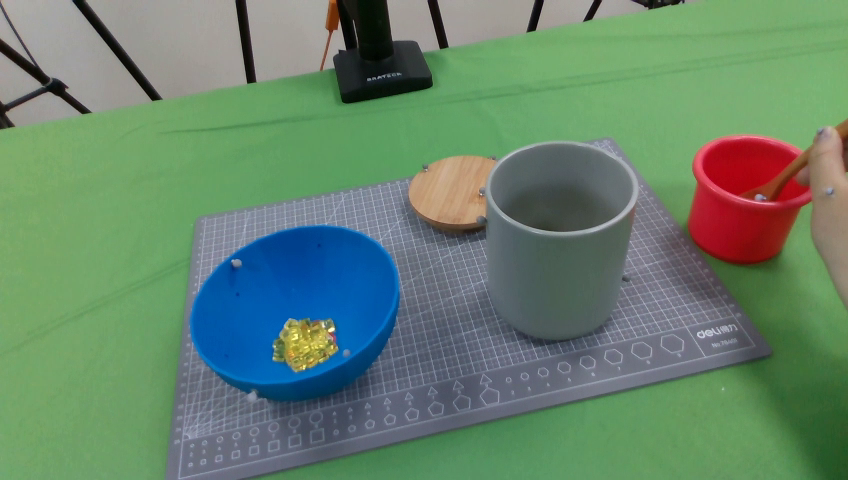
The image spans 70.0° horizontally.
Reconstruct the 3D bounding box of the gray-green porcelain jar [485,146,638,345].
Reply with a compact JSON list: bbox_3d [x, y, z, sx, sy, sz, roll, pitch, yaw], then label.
[{"bbox_3d":[0.101,0.009,0.463,0.106,0.128,0.105,-4,44,4],"label":"gray-green porcelain jar"}]

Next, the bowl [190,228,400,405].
[{"bbox_3d":[-0.088,0.069,0.461,0.151,0.077,0.150,-4,44,4],"label":"bowl"}]

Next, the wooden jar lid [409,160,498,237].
[{"bbox_3d":[0.040,-0.041,0.602,0.108,0.021,0.107,-4,43,4],"label":"wooden jar lid"}]

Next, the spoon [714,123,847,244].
[{"bbox_3d":[0.285,-0.050,0.459,0.021,0.195,0.041,14,61,-2],"label":"spoon"}]
